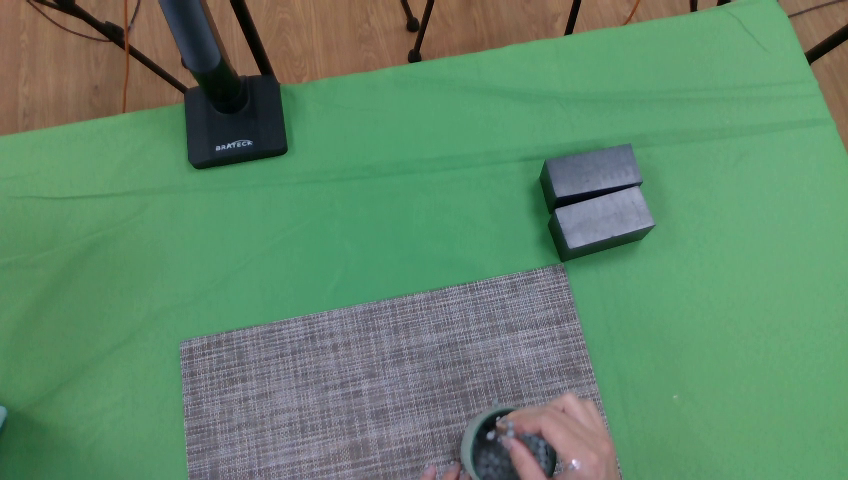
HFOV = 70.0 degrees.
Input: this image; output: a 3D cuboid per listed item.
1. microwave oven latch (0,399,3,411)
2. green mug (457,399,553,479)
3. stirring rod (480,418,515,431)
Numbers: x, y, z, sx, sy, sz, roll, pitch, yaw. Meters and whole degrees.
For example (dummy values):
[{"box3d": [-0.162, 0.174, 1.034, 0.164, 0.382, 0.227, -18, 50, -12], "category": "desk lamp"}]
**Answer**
[{"box3d": [-0.476, 0.200, 0.635, 0.030, 0.029, 0.079, 18, 75, 7], "category": "microwave oven latch"}, {"box3d": [0.088, 0.216, 0.591, 0.092, 0.105, 0.124, -28, 73, -7], "category": "green mug"}, {"box3d": [0.064, 0.164, 0.543, 0.014, 0.177, 0.006, 7, 75, 2], "category": "stirring rod"}]
